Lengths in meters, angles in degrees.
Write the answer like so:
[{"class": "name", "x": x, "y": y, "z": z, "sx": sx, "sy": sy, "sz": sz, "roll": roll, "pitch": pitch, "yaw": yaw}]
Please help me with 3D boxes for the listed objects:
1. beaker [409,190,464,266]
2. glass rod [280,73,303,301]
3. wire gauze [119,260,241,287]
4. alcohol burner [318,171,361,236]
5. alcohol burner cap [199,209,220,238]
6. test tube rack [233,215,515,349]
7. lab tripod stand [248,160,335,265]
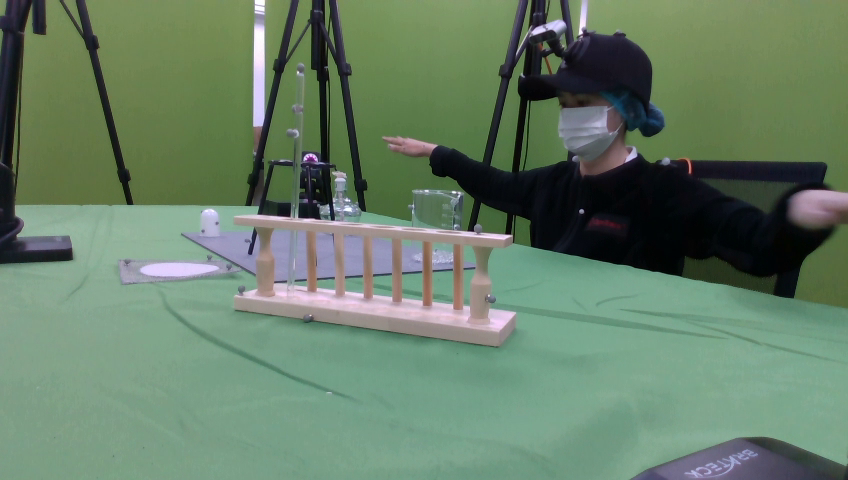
[{"class": "beaker", "x": 0.018, "y": -0.018, "z": 0.840, "sx": 0.074, "sy": 0.100, "sz": 0.083, "roll": -3, "pitch": 10, "yaw": -35}, {"class": "glass rod", "x": -0.114, "y": -0.040, "z": 0.516, "sx": 0.008, "sy": 0.199, "sz": 0.008, "roll": 7, "pitch": 14, "yaw": -1}, {"class": "wire gauze", "x": -0.288, "y": 0.034, "z": 0.706, "sx": 0.122, "sy": 0.011, "sz": 0.124, "roll": -3, "pitch": 10, "yaw": -29}, {"class": "alcohol burner", "x": -0.155, "y": -0.067, "z": 1.104, "sx": 0.078, "sy": 0.119, "sz": 0.078, "roll": 1, "pitch": 8, "yaw": 0}, {"class": "alcohol burner cap", "x": -0.356, "y": -0.027, "z": 1.002, "sx": 0.034, "sy": 0.048, "sz": 0.034, "roll": 2, "pitch": 7, "yaw": 0}, {"class": "test tube rack", "x": -0.045, "y": 0.029, "z": 0.526, "sx": 0.241, "sy": 0.085, "sz": 0.067, "roll": 5, "pitch": 8, "yaw": 19}, {"class": "lab tripod stand", "x": -0.165, "y": -0.041, "z": 0.817, "sx": 0.148, "sy": 0.131, "sz": 0.148, "roll": 5, "pitch": 7, "yaw": 0}]
